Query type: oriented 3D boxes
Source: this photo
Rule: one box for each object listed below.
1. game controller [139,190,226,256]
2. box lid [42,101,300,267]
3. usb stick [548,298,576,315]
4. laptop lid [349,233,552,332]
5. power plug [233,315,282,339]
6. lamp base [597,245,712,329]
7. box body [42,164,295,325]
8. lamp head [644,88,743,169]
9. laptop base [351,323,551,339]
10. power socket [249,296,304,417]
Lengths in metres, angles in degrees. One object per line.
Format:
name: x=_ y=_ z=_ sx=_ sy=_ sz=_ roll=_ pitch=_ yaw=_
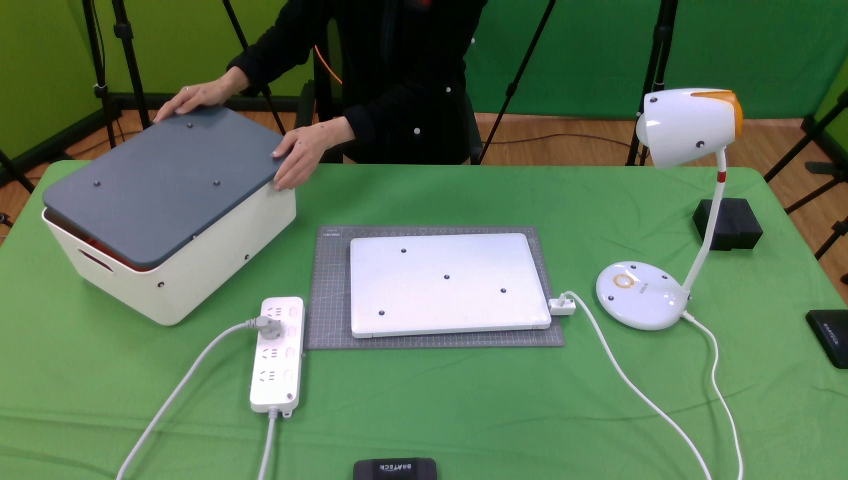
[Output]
game controller: x=-0.436 y=-0.038 z=1.080 sx=0.097 sy=0.052 sz=0.154 roll=-38 pitch=59 yaw=-26
box lid: x=-0.425 y=-0.115 z=1.050 sx=0.262 sy=0.015 sz=0.370 roll=27 pitch=50 yaw=18
usb stick: x=0.240 y=0.120 z=1.086 sx=0.059 sy=0.027 sz=0.021 roll=-2 pitch=51 yaw=-2
laptop lid: x=0.040 y=0.071 z=1.118 sx=0.357 sy=0.013 sz=0.240 roll=-1 pitch=44 yaw=-5
power plug: x=-0.271 y=0.144 z=0.999 sx=0.072 sy=0.053 sz=0.035 roll=5 pitch=47 yaw=3
lamp base: x=0.418 y=0.051 z=1.071 sx=0.179 sy=0.181 sz=0.160 roll=22 pitch=49 yaw=13
box body: x=-0.437 y=-0.046 z=1.110 sx=0.253 sy=0.161 sz=0.363 roll=24 pitch=49 yaw=19
lamp head: x=0.380 y=-0.161 z=0.851 sx=0.122 sy=0.113 sz=0.112 roll=-4 pitch=42 yaw=25
laptop base: x=0.040 y=0.081 z=1.125 sx=0.355 sy=0.023 sz=0.234 roll=-2 pitch=43 yaw=-6
power socket: x=-0.239 y=0.182 z=0.996 sx=0.072 sy=0.033 sz=0.225 roll=-2 pitch=47 yaw=-5
